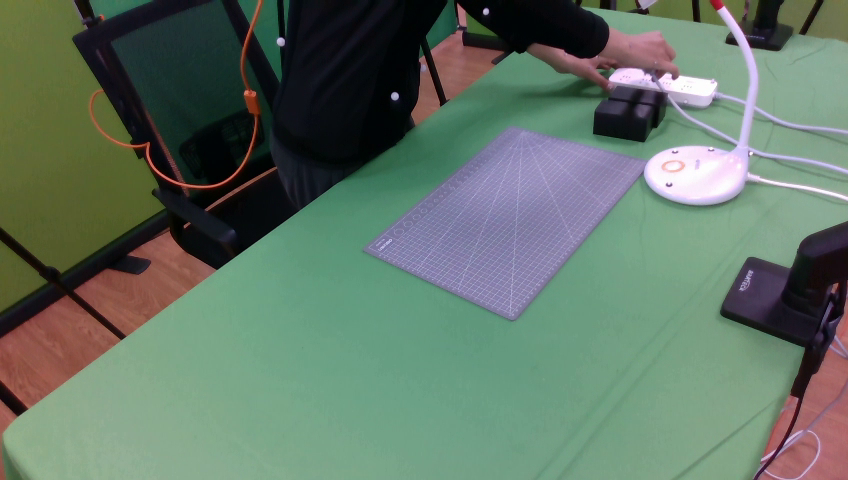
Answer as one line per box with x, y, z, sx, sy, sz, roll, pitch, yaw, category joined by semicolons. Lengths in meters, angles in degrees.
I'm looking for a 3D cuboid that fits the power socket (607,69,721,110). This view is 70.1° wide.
0.493;-0.315;1.256;0.225;0.033;0.072;20;49;30;power socket

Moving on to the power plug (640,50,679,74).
0.478;-0.358;1.233;0.073;0.052;0.035;-7;84;-3;power plug

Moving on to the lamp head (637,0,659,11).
0.330;-0.391;0.827;0.122;0.113;0.112;-21;35;25;lamp head

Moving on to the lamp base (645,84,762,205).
0.461;-0.170;0.975;0.179;0.181;0.160;3;41;11;lamp base
